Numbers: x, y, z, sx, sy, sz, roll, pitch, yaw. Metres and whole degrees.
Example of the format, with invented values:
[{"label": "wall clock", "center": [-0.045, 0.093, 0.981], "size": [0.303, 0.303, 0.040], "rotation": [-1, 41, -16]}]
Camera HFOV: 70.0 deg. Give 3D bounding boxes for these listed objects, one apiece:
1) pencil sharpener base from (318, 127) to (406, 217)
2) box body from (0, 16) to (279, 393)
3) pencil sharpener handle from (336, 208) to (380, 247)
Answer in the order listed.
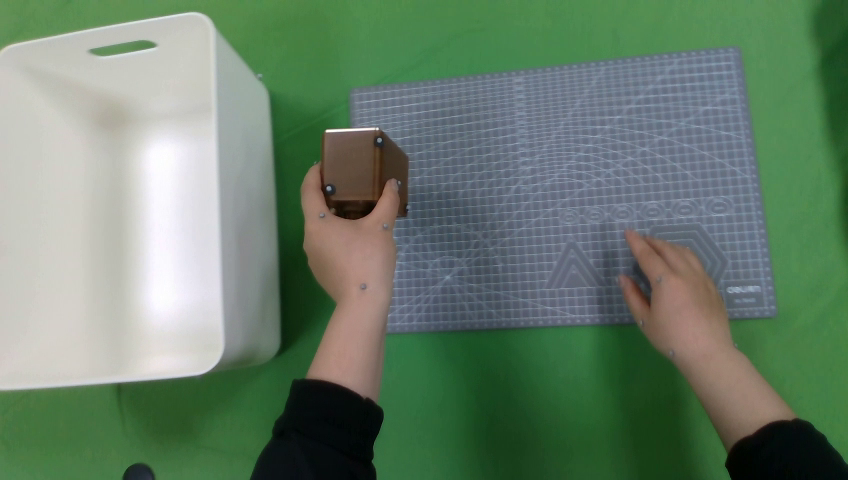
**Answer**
[{"label": "pencil sharpener base", "center": [-0.059, -0.060, 0.604], "size": [0.061, 0.107, 0.076], "rotation": [-1, 84, 12]}, {"label": "box body", "center": [-0.307, -0.027, 0.670], "size": [0.254, 0.161, 0.362], "rotation": [-7, 80, 8]}, {"label": "pencil sharpener handle", "center": [-0.060, -0.011, 0.587], "size": [0.036, 0.068, 0.030], "rotation": [-2, 84, 21]}]
